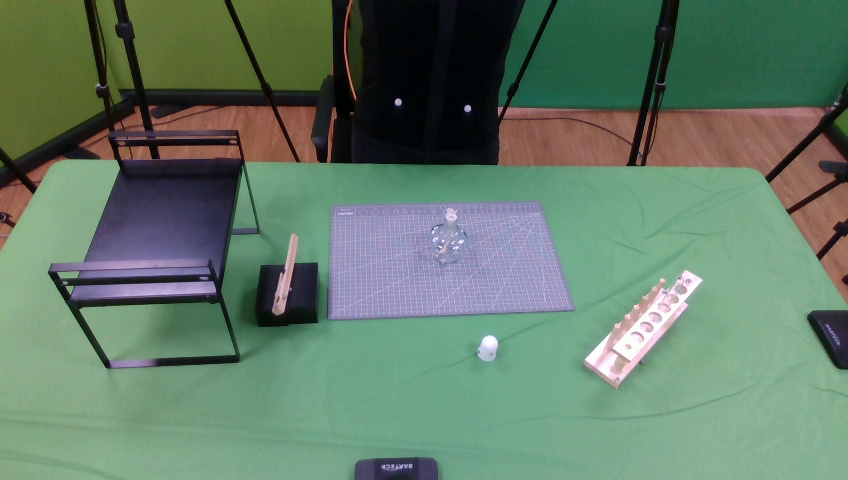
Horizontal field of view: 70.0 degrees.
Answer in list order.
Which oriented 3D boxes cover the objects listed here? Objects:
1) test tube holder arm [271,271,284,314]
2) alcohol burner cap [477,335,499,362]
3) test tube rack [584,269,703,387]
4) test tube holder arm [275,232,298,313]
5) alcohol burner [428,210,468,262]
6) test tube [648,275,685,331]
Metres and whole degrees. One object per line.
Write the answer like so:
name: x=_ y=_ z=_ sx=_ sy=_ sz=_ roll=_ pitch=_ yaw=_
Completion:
test tube holder arm: x=-0.244 y=0.087 z=1.028 sx=0.010 sy=0.015 sz=0.087 roll=-21 pitch=42 yaw=22
alcohol burner cap: x=0.109 y=0.179 z=1.017 sx=0.034 sy=0.048 sz=0.033 roll=4 pitch=50 yaw=-4
test tube rack: x=0.380 y=0.139 z=1.046 sx=0.066 sy=0.085 sz=0.242 roll=37 pitch=54 yaw=28
test tube holder arm: x=-0.238 y=0.053 z=1.057 sx=0.013 sy=0.015 sz=0.177 roll=-21 pitch=42 yaw=21
alcohol burner: x=0.048 y=-0.015 z=1.146 sx=0.078 sy=0.119 sz=0.077 roll=3 pitch=48 yaw=-3
test tube: x=0.401 y=0.109 z=1.007 sx=0.017 sy=0.151 sz=0.017 roll=0 pitch=50 yaw=0
